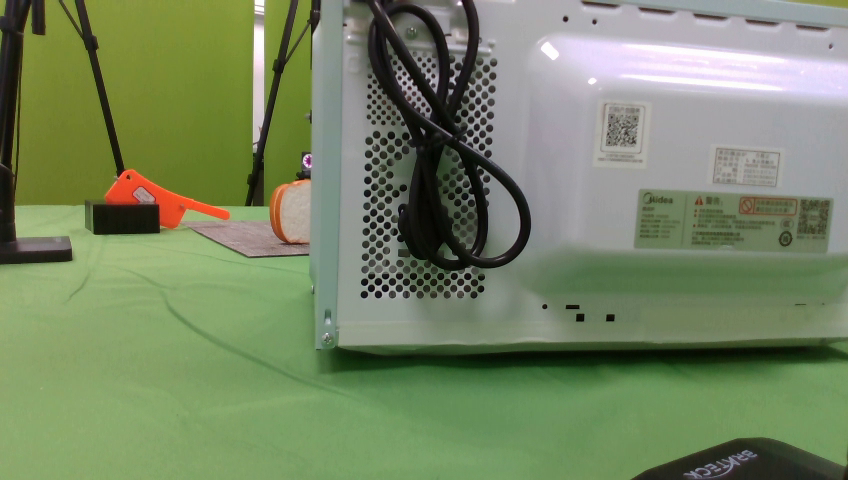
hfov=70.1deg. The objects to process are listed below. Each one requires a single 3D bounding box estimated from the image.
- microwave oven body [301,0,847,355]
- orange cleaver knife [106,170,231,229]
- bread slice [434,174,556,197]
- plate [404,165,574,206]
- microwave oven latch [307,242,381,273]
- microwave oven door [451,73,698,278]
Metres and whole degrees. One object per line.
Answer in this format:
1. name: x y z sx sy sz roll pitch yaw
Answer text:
1. microwave oven body: 0.120 -0.053 0.535 0.443 0.260 0.325 2 7 -11
2. orange cleaver knife: -0.458 -0.060 1.097 0.212 0.077 0.012 23 -4 -38
3. bread slice: 0.096 -0.069 0.762 0.134 0.018 0.107 -1 10 29
4. plate: 0.079 -0.067 0.744 0.208 0.039 0.207 -3 6 1
5. microwave oven latch: -0.086 0.019 0.656 0.079 0.029 0.030 2 7 -10
6. microwave oven door: 0.183 -0.094 0.835 0.354 0.243 0.039 9 10 44
